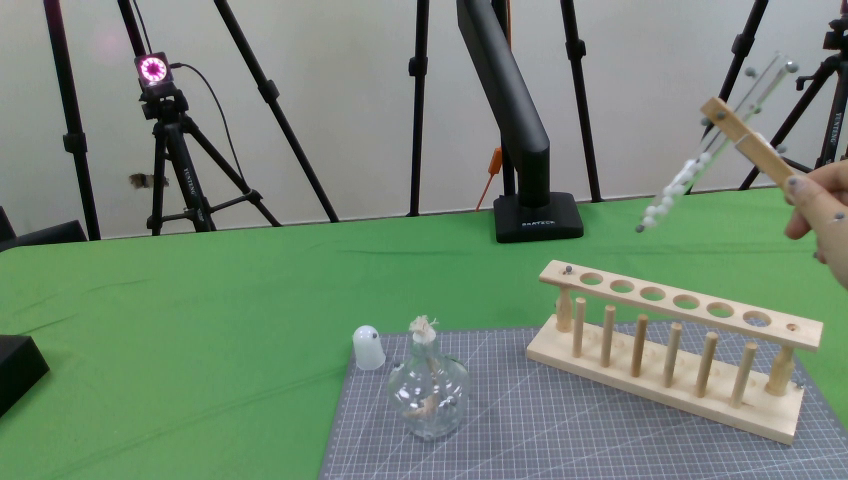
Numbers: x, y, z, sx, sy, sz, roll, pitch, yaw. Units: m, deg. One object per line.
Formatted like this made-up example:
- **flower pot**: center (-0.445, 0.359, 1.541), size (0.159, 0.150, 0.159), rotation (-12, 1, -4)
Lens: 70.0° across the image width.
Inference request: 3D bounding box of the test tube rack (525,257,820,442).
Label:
- **test tube rack**: center (0.217, 0.093, 0.566), size (0.240, 0.086, 0.066), rotation (14, 37, 32)

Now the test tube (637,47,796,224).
- **test tube**: center (0.205, -0.070, 0.437), size (0.017, 0.151, 0.017), rotation (24, 30, -15)

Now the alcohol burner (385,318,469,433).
- **alcohol burner**: center (0.001, 0.116, 0.547), size (0.078, 0.120, 0.077), rotation (-4, 32, 3)

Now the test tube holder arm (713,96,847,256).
- **test tube holder arm**: center (0.252, -0.032, 0.406), size (0.013, 0.015, 0.177), rotation (-12, 60, -45)

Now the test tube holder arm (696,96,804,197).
- **test tube holder arm**: center (0.224, -0.065, 0.417), size (0.010, 0.015, 0.087), rotation (-21, 66, -48)

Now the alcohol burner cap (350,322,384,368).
- **alcohol burner cap**: center (-0.062, 0.109, 0.644), size (0.034, 0.048, 0.033), rotation (-4, 32, 3)
